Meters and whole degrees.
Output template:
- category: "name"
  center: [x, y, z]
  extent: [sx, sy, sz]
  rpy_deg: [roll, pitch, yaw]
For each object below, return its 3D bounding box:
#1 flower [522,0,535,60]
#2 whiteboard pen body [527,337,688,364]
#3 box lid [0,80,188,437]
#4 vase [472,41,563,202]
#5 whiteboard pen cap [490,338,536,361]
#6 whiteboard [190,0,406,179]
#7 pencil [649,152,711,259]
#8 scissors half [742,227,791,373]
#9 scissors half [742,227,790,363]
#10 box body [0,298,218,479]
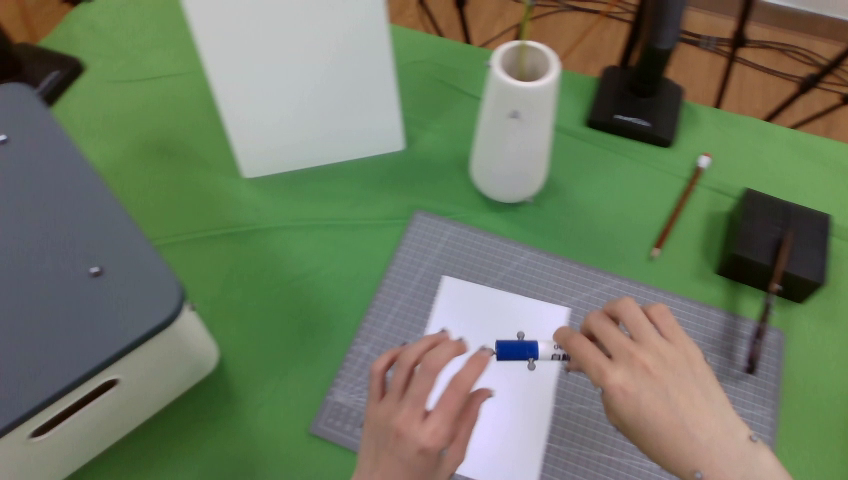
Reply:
- category: "flower"
  center: [0.107, -0.189, 0.646]
  extent: [0.044, 0.365, 0.038]
  rpy_deg: [13, 42, 11]
- category: "whiteboard pen body"
  center: [0.125, 0.082, 0.453]
  extent: [0.141, 0.017, 0.017]
  rpy_deg: [2, 59, 1]
- category: "box lid"
  center: [-0.414, 0.006, 0.552]
  extent: [0.263, 0.015, 0.368]
  rpy_deg: [-36, 66, -21]
- category: "vase"
  center: [0.109, -0.133, 0.710]
  extent: [0.098, 0.201, 0.097]
  rpy_deg: [0, 58, 0]
- category: "whiteboard pen cap"
  center: [0.066, 0.082, 0.454]
  extent: [0.033, 0.018, 0.018]
  rpy_deg: [1, 59, 1]
- category: "whiteboard"
  center: [-0.153, -0.260, 0.755]
  extent: [0.217, 0.308, 0.142]
  rpy_deg: [-11, 41, -7]
- category: "pencil"
  center: [0.326, -0.047, 0.771]
  extent: [0.012, 0.012, 0.193]
  rpy_deg: [30, 64, 17]
- category: "scissors half"
  center: [0.380, 0.064, 0.666]
  extent: [0.012, 0.040, 0.174]
  rpy_deg: [15, 78, 36]
- category: "scissors half"
  center: [0.372, 0.054, 0.650]
  extent: [0.012, 0.040, 0.174]
  rpy_deg: [17, 61, 31]
- category: "box body"
  center: [-0.414, 0.046, 0.615]
  extent: [0.254, 0.161, 0.361]
  rpy_deg: [-37, 66, -20]
